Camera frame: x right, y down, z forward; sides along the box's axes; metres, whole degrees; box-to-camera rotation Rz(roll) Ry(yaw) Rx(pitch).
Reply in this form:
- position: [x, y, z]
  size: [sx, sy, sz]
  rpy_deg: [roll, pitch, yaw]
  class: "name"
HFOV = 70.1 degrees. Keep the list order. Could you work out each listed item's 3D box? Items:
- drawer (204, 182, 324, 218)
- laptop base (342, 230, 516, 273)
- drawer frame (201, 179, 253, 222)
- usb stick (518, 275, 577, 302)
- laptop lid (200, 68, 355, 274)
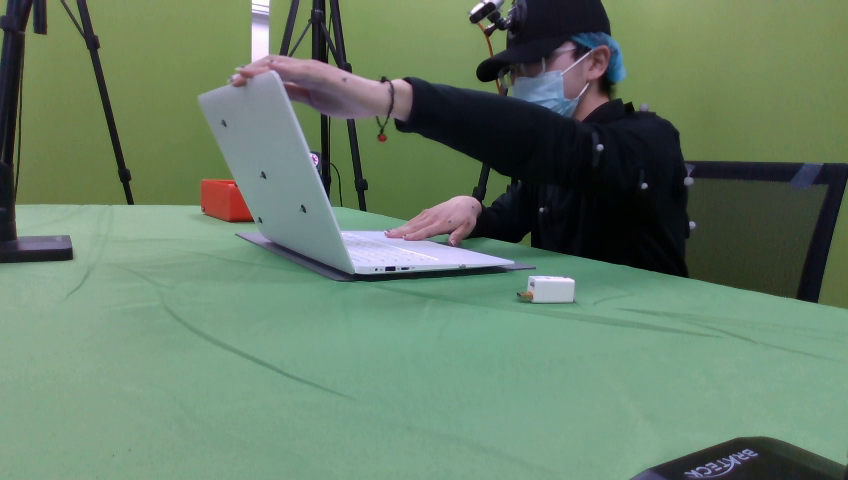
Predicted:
- position: [-0.360, -0.091, 1.358]
  size: [0.213, 0.073, 0.193]
  rpy_deg: [-4, 10, -36]
  class: "drawer"
- position: [-0.065, 0.014, 0.877]
  size: [0.237, 0.023, 0.352]
  rpy_deg: [3, 6, -32]
  class: "laptop base"
- position: [-0.361, -0.092, 1.356]
  size: [0.215, 0.082, 0.200]
  rpy_deg: [-4, 10, -37]
  class: "drawer frame"
- position: [0.127, 0.050, 0.625]
  size: [0.059, 0.027, 0.021]
  rpy_deg: [-2, 9, -12]
  class: "usb stick"
- position: [-0.203, -0.087, 0.776]
  size: [0.013, 0.242, 0.355]
  rpy_deg: [-29, 23, -25]
  class: "laptop lid"
